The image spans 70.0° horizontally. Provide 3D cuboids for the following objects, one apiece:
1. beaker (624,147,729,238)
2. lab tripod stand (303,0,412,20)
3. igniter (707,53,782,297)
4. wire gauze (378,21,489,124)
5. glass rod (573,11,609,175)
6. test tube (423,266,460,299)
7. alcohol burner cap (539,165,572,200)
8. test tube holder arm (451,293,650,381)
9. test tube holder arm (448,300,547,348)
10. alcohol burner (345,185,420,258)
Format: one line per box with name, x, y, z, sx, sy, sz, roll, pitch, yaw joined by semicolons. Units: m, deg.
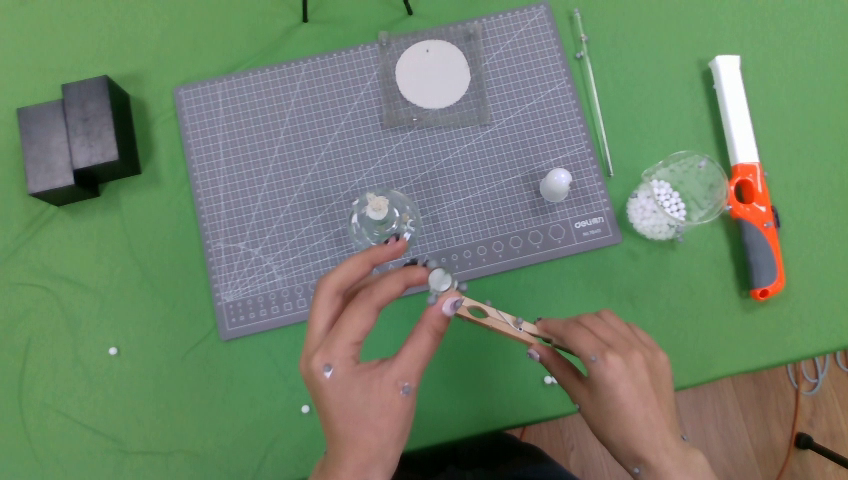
beaker;0.252;-0.045;0.627;0.084;0.100;0.074;18;80;5
lab tripod stand;-0.083;-0.312;0.661;0.148;0.132;0.148;0;82;1
igniter;0.353;-0.076;0.668;0.057;0.025;0.275;-4;80;-10
wire gauze;0.010;-0.192;0.700;0.125;0.011;0.121;-3;81;-1
glass rod;0.192;-0.170;0.696;0.008;0.008;0.199;-8;82;-1
test tube;0.014;0.031;0.412;0.017;0.150;0.017;-1;83;6
alcohol burner cap;0.144;-0.065;0.658;0.034;0.048;0.033;0;80;1
test tube holder arm;0.107;0.083;0.515;0.178;0.015;0.013;20;75;1
test tube holder arm;0.063;0.072;0.514;0.088;0.015;0.010;21;75;1
alcohol burner;-0.044;-0.023;0.616;0.078;0.119;0.077;0;79;3
